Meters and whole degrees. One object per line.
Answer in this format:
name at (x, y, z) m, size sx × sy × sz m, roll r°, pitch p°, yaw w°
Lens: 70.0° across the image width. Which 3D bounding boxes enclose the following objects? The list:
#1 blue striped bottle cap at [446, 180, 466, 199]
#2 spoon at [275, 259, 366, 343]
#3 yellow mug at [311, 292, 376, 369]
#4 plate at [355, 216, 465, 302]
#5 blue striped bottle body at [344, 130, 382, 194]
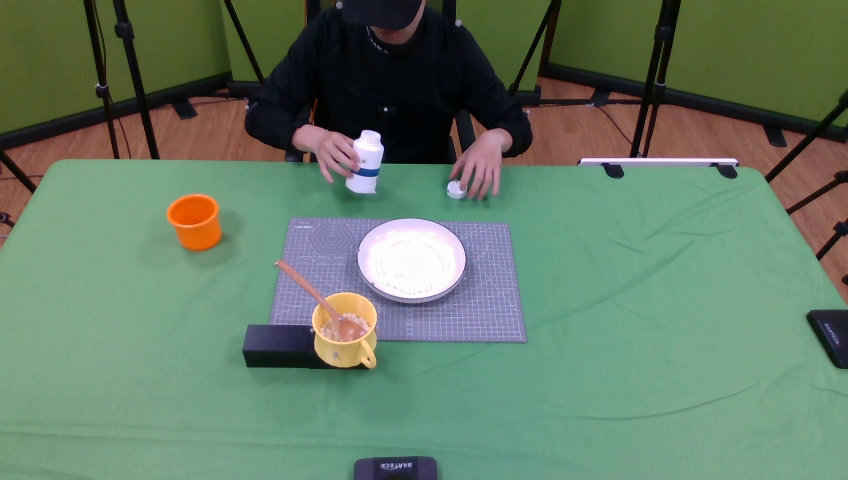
blue striped bottle cap at (0.070, -0.110, 1.314) m, size 0.044 × 0.021 × 0.044 m, roll 3°, pitch 44°, yaw -3°
spoon at (-0.161, 0.098, 0.946) m, size 0.194 × 0.021 × 0.041 m, roll 48°, pitch 56°, yaw -5°
yellow mug at (-0.115, 0.149, 0.945) m, size 0.100 × 0.064 × 0.130 m, roll -30°, pitch 57°, yaw -28°
plate at (-0.027, 0.039, 1.144) m, size 0.208 × 0.039 × 0.206 m, roll 2°, pitch 46°, yaw -2°
blue striped bottle body at (-0.122, -0.161, 1.229) m, size 0.063 × 0.121 × 0.063 m, roll 12°, pitch 26°, yaw -6°
